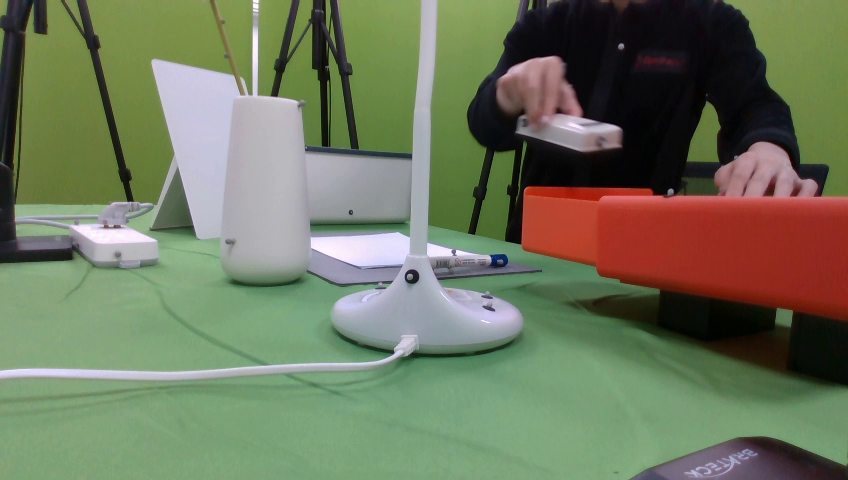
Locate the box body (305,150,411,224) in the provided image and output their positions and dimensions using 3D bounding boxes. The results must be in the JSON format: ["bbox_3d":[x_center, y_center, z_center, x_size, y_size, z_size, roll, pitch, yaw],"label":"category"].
[{"bbox_3d":[-0.230,-0.126,1.371,0.366,0.160,0.253,-2,8,-33],"label":"box body"}]

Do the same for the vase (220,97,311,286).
[{"bbox_3d":[-0.172,-0.052,0.662,0.098,0.200,0.098,3,8,0],"label":"vase"}]

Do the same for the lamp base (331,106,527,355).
[{"bbox_3d":[0.006,-0.012,0.478,0.161,0.180,0.179,2,10,2],"label":"lamp base"}]

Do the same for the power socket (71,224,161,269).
[{"bbox_3d":[-0.408,0.004,0.793,0.072,0.032,0.225,-2,8,-38],"label":"power socket"}]

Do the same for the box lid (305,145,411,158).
[{"bbox_3d":[-0.228,-0.200,1.362,0.373,0.015,0.262,-1,8,-33],"label":"box lid"}]

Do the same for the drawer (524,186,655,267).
[{"bbox_3d":[0.238,-0.011,0.599,0.195,0.073,0.210,0,8,-29],"label":"drawer"}]

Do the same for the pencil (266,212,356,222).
[{"bbox_3d":[-0.244,-0.049,1.319,0.195,0.012,0.012,4,7,-12],"label":"pencil"}]

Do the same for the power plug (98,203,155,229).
[{"bbox_3d":[-0.416,-0.026,0.848,0.073,0.052,0.035,1,7,-28],"label":"power plug"}]

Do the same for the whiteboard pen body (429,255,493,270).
[{"bbox_3d":[0.053,0.028,0.777,0.141,0.017,0.017,-1,8,-39],"label":"whiteboard pen body"}]

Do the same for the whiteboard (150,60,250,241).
[{"bbox_3d":[-0.408,-0.139,1.093,0.143,0.305,0.218,-15,-1,26],"label":"whiteboard"}]

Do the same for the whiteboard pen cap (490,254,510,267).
[{"bbox_3d":[0.098,0.028,0.815,0.033,0.018,0.018,-1,8,-39],"label":"whiteboard pen cap"}]

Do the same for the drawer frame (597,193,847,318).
[{"bbox_3d":[0.293,0.002,0.504,0.203,0.082,0.212,-1,5,-30],"label":"drawer frame"}]

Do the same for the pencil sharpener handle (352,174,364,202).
[{"bbox_3d":[-0.157,-0.125,1.450,0.031,0.068,0.036,2,19,-11],"label":"pencil sharpener handle"}]

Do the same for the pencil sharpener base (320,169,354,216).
[{"bbox_3d":[-0.207,-0.113,1.438,0.077,0.107,0.061,2,6,-11],"label":"pencil sharpener base"}]

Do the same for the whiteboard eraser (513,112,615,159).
[{"bbox_3d":[0.153,-0.118,0.675,0.056,0.042,0.112,-13,24,-27],"label":"whiteboard eraser"}]

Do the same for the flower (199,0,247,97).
[{"bbox_3d":[-0.187,-0.133,0.648,0.038,0.362,0.044,-1,21,42],"label":"flower"}]
